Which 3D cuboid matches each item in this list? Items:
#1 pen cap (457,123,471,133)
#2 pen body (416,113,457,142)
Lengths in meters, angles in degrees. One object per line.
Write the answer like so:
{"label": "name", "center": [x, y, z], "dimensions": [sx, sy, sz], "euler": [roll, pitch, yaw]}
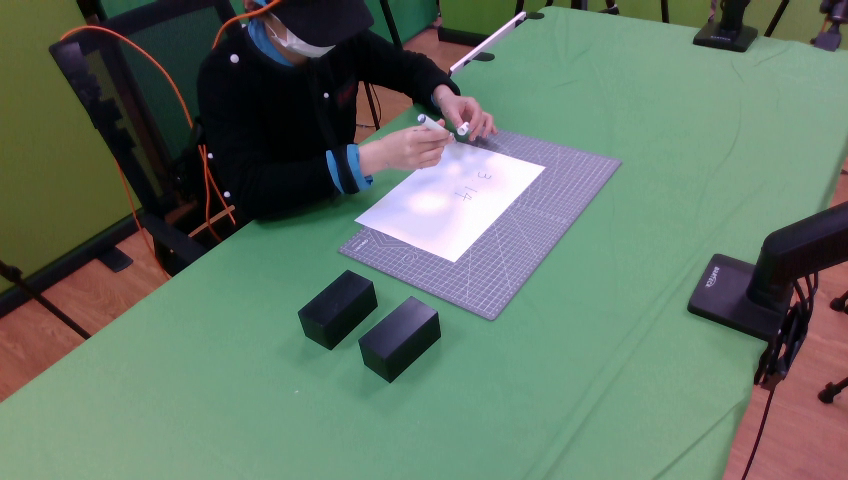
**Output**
{"label": "pen cap", "center": [0.075, -0.208, 1.120], "dimensions": [0.017, 0.017, 0.038], "euler": [12, 23, 22]}
{"label": "pen body", "center": [0.025, -0.185, 1.017], "dimensions": [0.017, 0.145, 0.017], "euler": [-4, 82, 26]}
